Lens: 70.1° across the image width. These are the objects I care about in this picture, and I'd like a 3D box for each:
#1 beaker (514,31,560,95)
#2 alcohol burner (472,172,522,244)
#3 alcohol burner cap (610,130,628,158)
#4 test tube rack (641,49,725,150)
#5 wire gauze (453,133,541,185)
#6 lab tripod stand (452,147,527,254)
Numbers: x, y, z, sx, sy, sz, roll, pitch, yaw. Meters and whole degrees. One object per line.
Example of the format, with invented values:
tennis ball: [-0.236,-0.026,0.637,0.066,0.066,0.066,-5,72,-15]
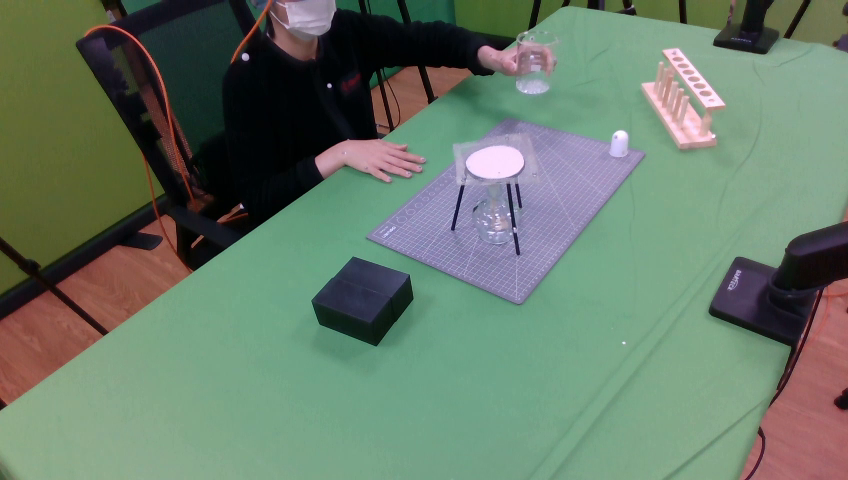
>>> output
beaker: [0.209,-0.331,1.137,0.084,0.100,0.073,-1,40,3]
alcohol burner: [0.112,-0.053,0.942,0.078,0.119,0.077,-6,40,5]
alcohol burner cap: [0.359,-0.177,1.106,0.034,0.048,0.033,-5,41,5]
test tube rack: [0.495,-0.279,1.175,0.067,0.085,0.241,-5,41,3]
wire gauze: [0.105,-0.120,0.902,0.125,0.011,0.121,-5,41,6]
lab tripod stand: [0.111,-0.066,0.943,0.148,0.132,0.147,-5,42,5]
